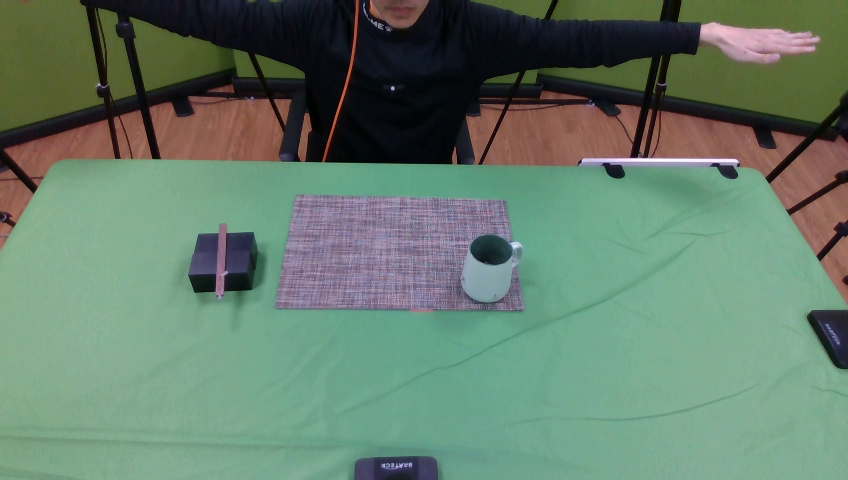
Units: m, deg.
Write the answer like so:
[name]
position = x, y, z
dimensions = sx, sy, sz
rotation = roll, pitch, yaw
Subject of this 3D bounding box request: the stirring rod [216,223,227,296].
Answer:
[stirring rod]
position = -0.362, 0.031, 1.083
dimensions = 0.014, 0.006, 0.175
rotation = -7, 47, -9

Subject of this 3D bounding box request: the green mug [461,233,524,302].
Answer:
[green mug]
position = 0.130, 0.044, 1.101
dimensions = 0.125, 0.105, 0.092
rotation = -25, 53, -25
